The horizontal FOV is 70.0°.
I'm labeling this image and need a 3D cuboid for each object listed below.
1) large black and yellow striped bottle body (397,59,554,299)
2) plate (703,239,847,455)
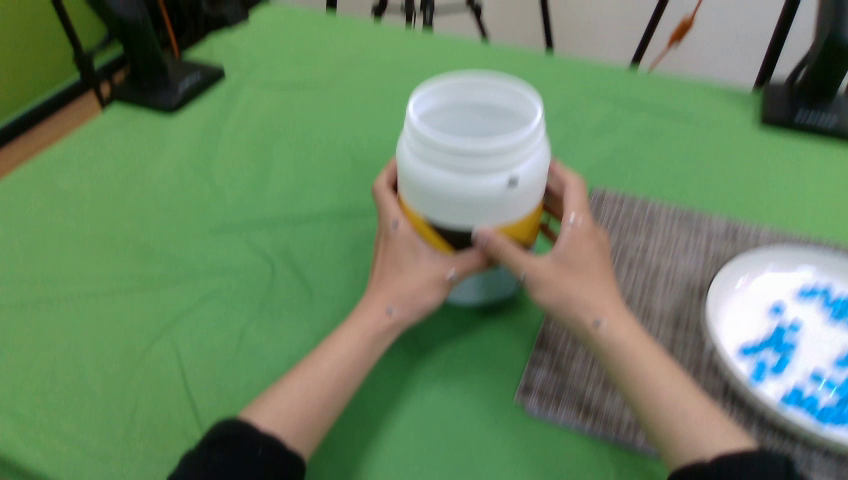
[{"bbox_3d":[0.044,-0.051,0.537,0.131,0.185,0.129,-1,46,1],"label":"large black and yellow striped bottle body"},{"bbox_3d":[0.334,0.085,0.496,0.208,0.039,0.205,0,46,1],"label":"plate"}]
